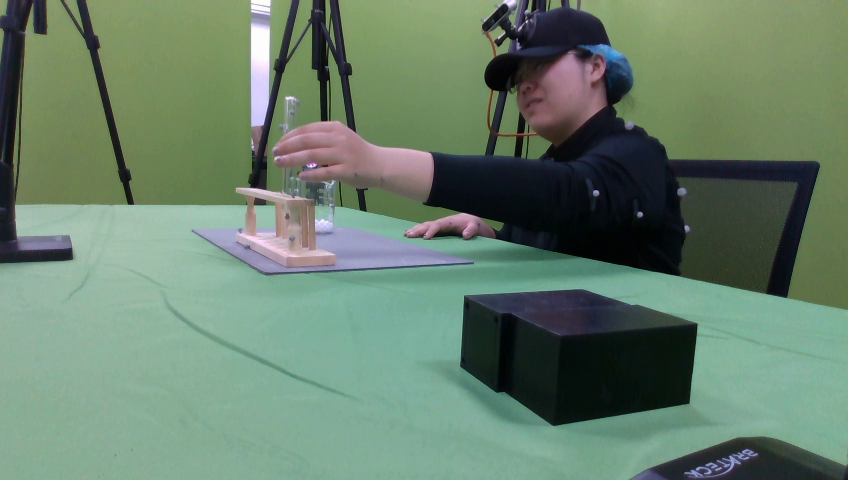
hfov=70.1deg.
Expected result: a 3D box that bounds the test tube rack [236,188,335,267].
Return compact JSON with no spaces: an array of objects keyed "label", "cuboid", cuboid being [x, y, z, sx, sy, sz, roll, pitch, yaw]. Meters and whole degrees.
[{"label":"test tube rack","cuboid":[-0.202,-0.024,0.855,0.067,0.085,0.241,-2,8,-31]}]

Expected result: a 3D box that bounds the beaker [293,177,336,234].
[{"label":"beaker","cuboid":[-0.198,-0.063,1.107,0.083,0.100,0.074,10,11,40]}]

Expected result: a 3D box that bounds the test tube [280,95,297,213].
[{"label":"test tube","cuboid":[-0.173,-0.109,0.772,0.017,0.150,0.017,4,6,0]}]
